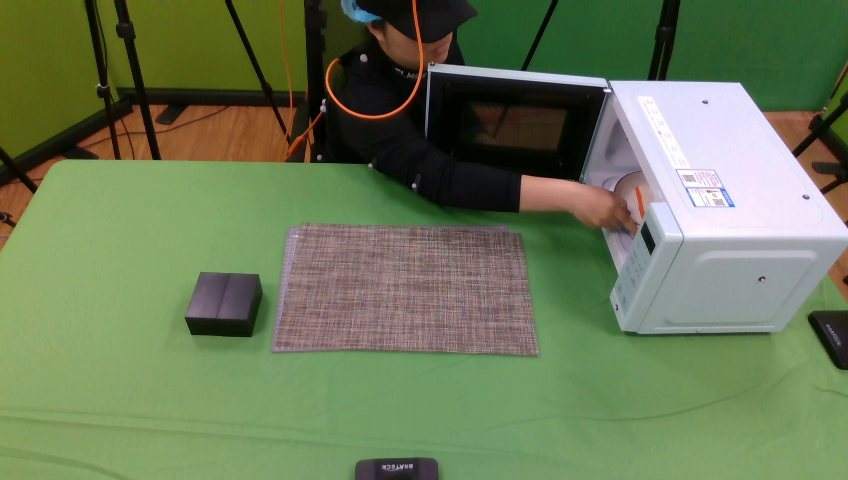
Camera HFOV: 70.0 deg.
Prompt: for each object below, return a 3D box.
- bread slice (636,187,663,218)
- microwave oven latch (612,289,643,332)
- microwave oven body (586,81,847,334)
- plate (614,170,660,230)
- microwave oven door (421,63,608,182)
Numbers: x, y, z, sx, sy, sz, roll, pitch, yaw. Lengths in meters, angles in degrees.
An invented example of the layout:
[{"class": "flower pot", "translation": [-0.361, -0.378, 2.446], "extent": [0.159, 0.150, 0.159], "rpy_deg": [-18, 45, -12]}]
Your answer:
[{"class": "bread slice", "translation": [0.477, -0.058, 1.190], "extent": [0.105, 0.019, 0.131], "rpy_deg": [7, 43, 3]}, {"class": "microwave oven latch", "translation": [0.357, 0.124, 1.068], "extent": [0.030, 0.029, 0.078], "rpy_deg": [0, 45, -3]}, {"class": "microwave oven body", "translation": [0.501, -0.070, 1.132], "extent": [0.326, 0.261, 0.438], "rpy_deg": [-1, 45, -3]}, {"class": "plate", "translation": [0.474, -0.060, 1.188], "extent": [0.209, 0.038, 0.208], "rpy_deg": [4, 44, -4]}, {"class": "microwave oven door", "translation": [0.178, -0.241, 1.268], "extent": [0.356, 0.245, 0.039], "rpy_deg": [5, 46, 1]}]
